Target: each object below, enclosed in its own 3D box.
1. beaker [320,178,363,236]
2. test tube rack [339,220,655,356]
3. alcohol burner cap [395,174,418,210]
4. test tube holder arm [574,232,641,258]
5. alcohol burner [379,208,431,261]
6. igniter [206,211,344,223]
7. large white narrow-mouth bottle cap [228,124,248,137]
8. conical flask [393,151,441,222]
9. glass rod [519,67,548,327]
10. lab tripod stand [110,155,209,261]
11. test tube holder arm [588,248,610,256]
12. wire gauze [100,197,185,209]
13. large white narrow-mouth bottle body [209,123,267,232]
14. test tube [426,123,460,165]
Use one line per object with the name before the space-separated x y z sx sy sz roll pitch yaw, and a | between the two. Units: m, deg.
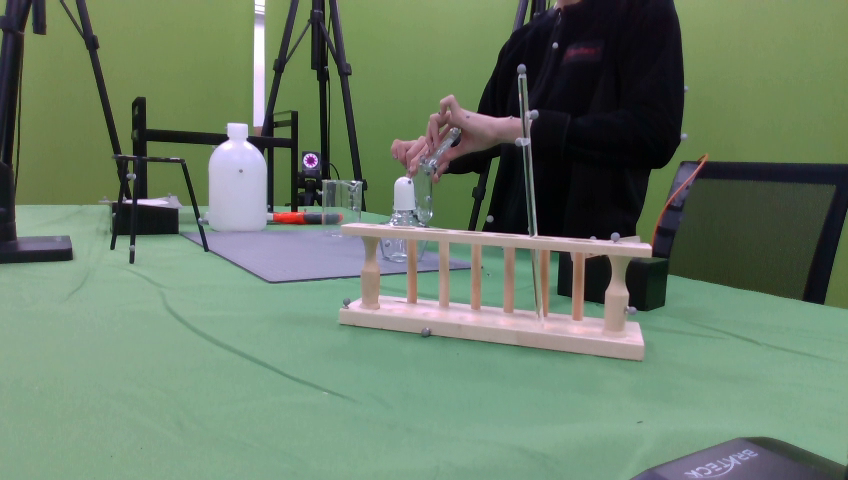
beaker | -0.145 -0.059 1.079 0.074 0.100 0.083 -4 10 -36
test tube rack | 0.056 0.032 0.495 0.242 0.085 0.067 4 7 15
alcohol burner cap | -0.026 -0.067 0.833 0.034 0.048 0.034 -2 12 1
test tube holder arm | 0.202 0.003 0.651 0.013 0.015 0.179 -4 2 36
alcohol burner | -0.027 -0.031 0.838 0.078 0.119 0.078 0 6 0
igniter | -0.302 -0.048 1.249 0.278 0.025 0.057 -2 -2 -26
large white narrow-mouth bottle cap | -0.338 -0.198 1.097 0.038 0.024 0.037 2 8 0
conical flask | -0.006 -0.095 1.032 0.075 0.122 0.075 11 45 -11
glass rod | 0.084 -0.029 0.459 0.008 0.199 0.008 -7 11 2
lab tripod stand | -0.361 -0.046 0.806 0.148 0.131 0.148 2 5 0
test tube holder arm | 0.180 0.006 0.611 0.010 0.015 0.088 -3 2 36
wire gauze | -0.469 -0.062 1.008 0.126 0.011 0.121 -2 8 -25
large white narrow-mouth bottle body | -0.340 -0.115 1.109 0.102 0.194 0.102 2 8 0
test tube | 0.028 -0.145 0.924 0.017 0.017 0.150 0 -12 -14
